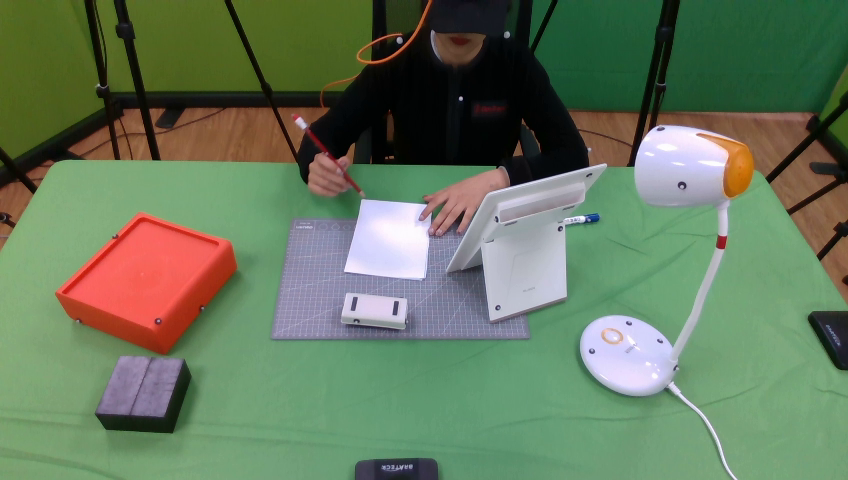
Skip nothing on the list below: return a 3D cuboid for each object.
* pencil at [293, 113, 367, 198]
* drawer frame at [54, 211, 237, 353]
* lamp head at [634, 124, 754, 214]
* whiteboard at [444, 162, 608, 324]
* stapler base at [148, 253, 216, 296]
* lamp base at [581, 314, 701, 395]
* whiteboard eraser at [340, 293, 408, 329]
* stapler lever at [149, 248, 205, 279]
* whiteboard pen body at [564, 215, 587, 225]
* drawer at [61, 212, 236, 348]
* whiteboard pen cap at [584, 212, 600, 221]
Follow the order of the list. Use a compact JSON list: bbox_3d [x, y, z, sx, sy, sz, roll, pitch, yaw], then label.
[{"bbox_3d":[-0.164,-0.148,1.077,0.194,0.012,0.012,50,51,-12],"label":"pencil"},{"bbox_3d":[-0.473,0.067,1.055,0.201,0.083,0.212,17,48,11],"label":"drawer frame"},{"bbox_3d":[0.351,-0.089,0.776,0.112,0.113,0.122,-30,30,-28],"label":"lamp head"},{"bbox_3d":[0.186,0.026,1.028,0.217,0.306,0.143,-14,68,-17],"label":"whiteboard"},{"bbox_3d":[-0.443,0.059,1.109,0.130,0.024,0.041,24,51,11],"label":"stapler base"},{"bbox_3d":[0.361,0.144,0.973,0.178,0.181,0.160,34,53,23],"label":"lamp base"},{"bbox_3d":[-0.087,0.125,1.052,0.113,0.042,0.055,5,45,1],"label":"whiteboard eraser"},{"bbox_3d":[-0.443,0.037,1.084,0.118,0.040,0.027,19,50,18],"label":"stapler lever"},{"bbox_3d":[0.291,-0.040,1.261,0.141,0.017,0.017,-6,47,-11],"label":"whiteboard pen body"},{"bbox_3d":[-0.473,0.064,1.060,0.194,0.073,0.211,18,48,11],"label":"drawer"},{"bbox_3d":[0.351,-0.048,1.271,0.033,0.018,0.018,-6,47,-11],"label":"whiteboard pen cap"}]
